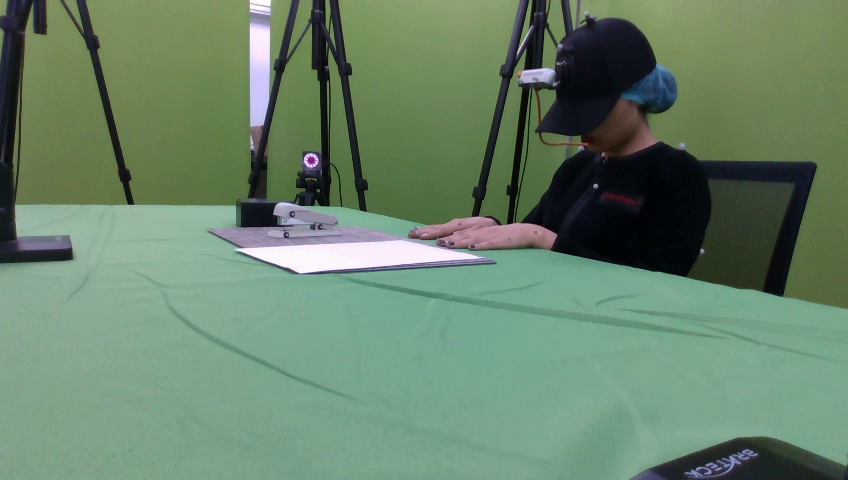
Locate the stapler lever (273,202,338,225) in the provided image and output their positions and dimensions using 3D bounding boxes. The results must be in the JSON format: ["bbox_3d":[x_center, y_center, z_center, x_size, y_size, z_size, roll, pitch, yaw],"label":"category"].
[{"bbox_3d":[-0.205,-0.045,1.055,0.119,0.040,0.026,-2,12,-41],"label":"stapler lever"}]

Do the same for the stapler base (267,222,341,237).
[{"bbox_3d":[-0.208,-0.020,1.057,0.131,0.024,0.041,-2,12,-41],"label":"stapler base"}]
